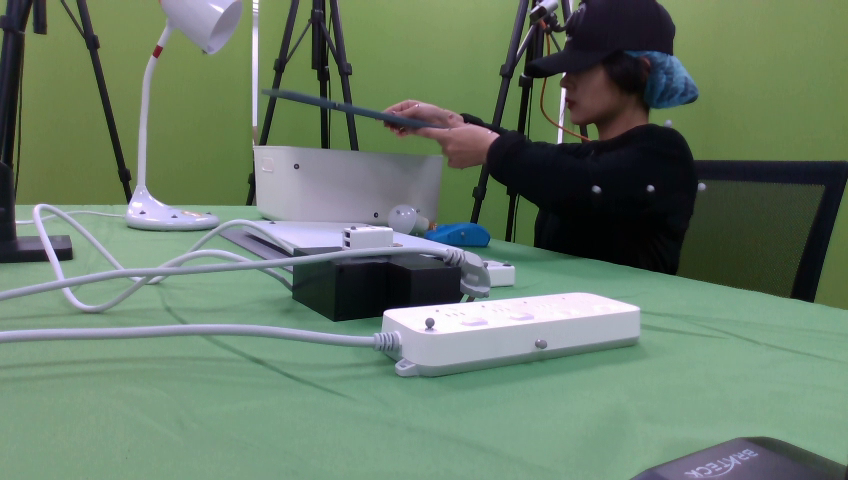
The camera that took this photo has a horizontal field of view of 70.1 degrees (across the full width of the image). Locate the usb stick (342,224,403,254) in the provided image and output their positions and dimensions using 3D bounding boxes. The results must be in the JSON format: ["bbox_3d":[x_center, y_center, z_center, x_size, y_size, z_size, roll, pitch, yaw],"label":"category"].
[{"bbox_3d":[-0.047,-0.001,0.567,0.059,0.027,0.021,0,5,-32],"label":"usb stick"}]

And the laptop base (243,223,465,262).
[{"bbox_3d":[-0.126,0.003,0.946,0.237,0.023,0.352,2,6,-31],"label":"laptop base"}]

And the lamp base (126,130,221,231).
[{"bbox_3d":[-0.469,-0.112,1.108,0.179,0.180,0.160,0,7,3],"label":"lamp base"}]

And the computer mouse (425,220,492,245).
[{"bbox_3d":[0.060,-0.013,1.060,0.117,0.041,0.062,-3,10,-6],"label":"computer mouse"}]

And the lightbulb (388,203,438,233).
[{"bbox_3d":[-0.018,-0.035,1.162,0.108,0.059,0.059,16,0,-27],"label":"lightbulb"}]

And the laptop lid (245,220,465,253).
[{"bbox_3d":[-0.124,-0.009,0.945,0.243,0.013,0.355,1,7,-29],"label":"laptop lid"}]

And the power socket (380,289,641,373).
[{"bbox_3d":[0.072,0.064,0.461,0.228,0.032,0.072,-2,8,-30],"label":"power socket"}]

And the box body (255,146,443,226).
[{"bbox_3d":[-0.168,-0.120,1.343,0.366,0.160,0.253,-2,8,-31],"label":"box body"}]

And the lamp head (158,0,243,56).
[{"bbox_3d":[-0.399,-0.397,1.057,0.123,0.112,0.112,27,5,-7],"label":"lamp head"}]

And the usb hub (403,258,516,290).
[{"bbox_3d":[0.042,0.038,0.690,0.126,0.025,0.049,-2,9,-30],"label":"usb hub"}]

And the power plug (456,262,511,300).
[{"bbox_3d":[0.052,0.051,0.543,0.035,0.052,0.072,6,37,-20],"label":"power plug"}]

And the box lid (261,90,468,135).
[{"bbox_3d":[-0.123,-0.253,1.202,0.373,0.015,0.262,6,11,-26],"label":"box lid"}]
